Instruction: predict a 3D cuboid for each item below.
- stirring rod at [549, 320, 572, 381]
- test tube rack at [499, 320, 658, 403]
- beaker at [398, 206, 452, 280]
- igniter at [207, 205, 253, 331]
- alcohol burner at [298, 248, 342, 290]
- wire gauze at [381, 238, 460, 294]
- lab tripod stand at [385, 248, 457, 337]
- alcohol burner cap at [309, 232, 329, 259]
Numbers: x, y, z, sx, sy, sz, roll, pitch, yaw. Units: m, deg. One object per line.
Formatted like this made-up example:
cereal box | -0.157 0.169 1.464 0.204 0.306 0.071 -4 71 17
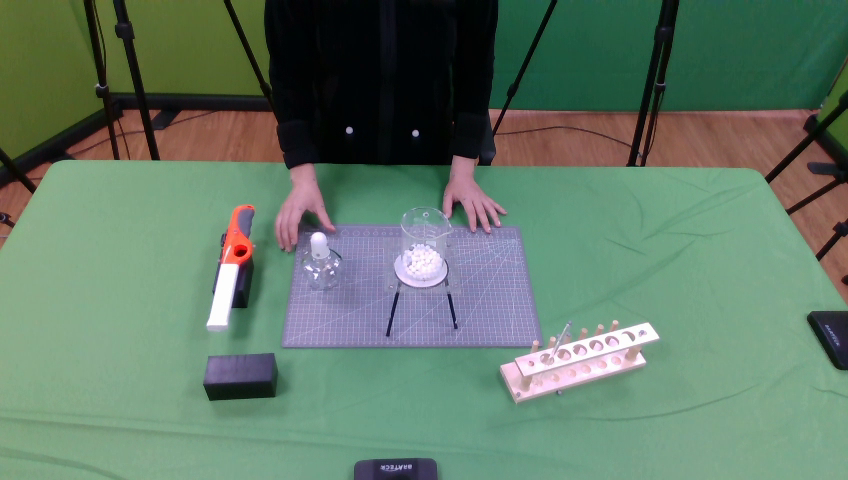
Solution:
stirring rod | 0.202 0.167 0.901 0.006 0.177 0.014 -17 54 -11
test tube rack | 0.252 0.187 0.994 0.243 0.085 0.066 -12 48 -15
beaker | 0.000 0.008 0.950 0.084 0.101 0.073 10 45 6
igniter | -0.339 0.038 1.066 0.057 0.025 0.274 2 48 -6
alcohol burner | -0.187 0.032 1.084 0.078 0.120 0.077 1 46 -1
wire gauze | -0.008 0.042 0.985 0.125 0.011 0.120 -1 43 -2
lab tripod stand | -0.010 0.087 1.032 0.148 0.132 0.147 1 45 -1
alcohol burner cap | -0.186 0.008 1.058 0.034 0.048 0.033 0 43 1
